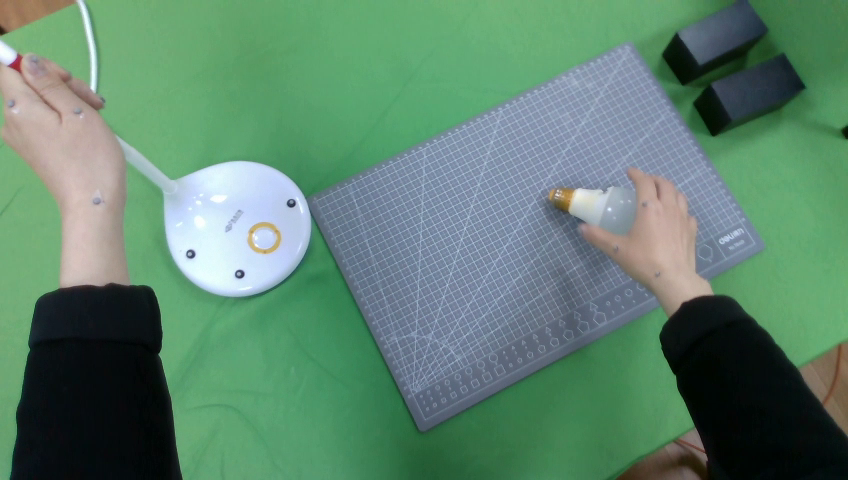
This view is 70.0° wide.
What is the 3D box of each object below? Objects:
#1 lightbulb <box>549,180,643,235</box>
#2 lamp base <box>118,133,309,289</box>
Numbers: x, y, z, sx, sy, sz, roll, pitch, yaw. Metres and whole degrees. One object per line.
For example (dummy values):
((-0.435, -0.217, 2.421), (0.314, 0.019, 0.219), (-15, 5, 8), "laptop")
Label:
((0.194, -0.043, 0.688), (0.107, 0.060, 0.059), (21, 78, 20), "lightbulb")
((-0.224, -0.044, 0.621), (0.179, 0.181, 0.160), (20, 78, 7), "lamp base")
